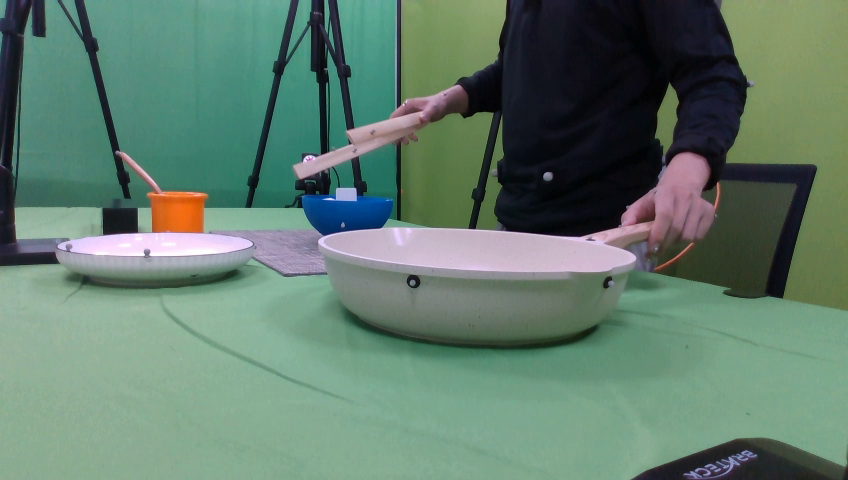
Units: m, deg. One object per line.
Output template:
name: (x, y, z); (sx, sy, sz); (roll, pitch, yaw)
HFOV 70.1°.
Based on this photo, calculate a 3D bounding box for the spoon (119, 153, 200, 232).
spoon: (-0.439, -0.077, 1.000); (0.021, 0.193, 0.042); (-43, -7, 21)

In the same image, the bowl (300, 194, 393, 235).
bowl: (-0.128, -0.034, 0.995); (0.151, 0.077, 0.151); (2, 7, 0)

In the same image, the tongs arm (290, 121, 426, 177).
tongs arm: (-0.110, -0.187, 1.150); (0.050, 0.026, 0.386); (-27, 5, 35)

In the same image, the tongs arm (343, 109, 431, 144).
tongs arm: (-0.056, -0.212, 1.113); (0.028, 0.028, 0.388); (-31, 3, 26)

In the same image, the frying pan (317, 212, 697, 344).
frying pan: (0.133, 0.013, 0.630); (0.490, 0.102, 0.305); (-12, 14, -31)

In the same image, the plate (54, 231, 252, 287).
plate: (-0.309, 0.020, 0.705); (0.208, 0.039, 0.207); (3, 7, 0)
